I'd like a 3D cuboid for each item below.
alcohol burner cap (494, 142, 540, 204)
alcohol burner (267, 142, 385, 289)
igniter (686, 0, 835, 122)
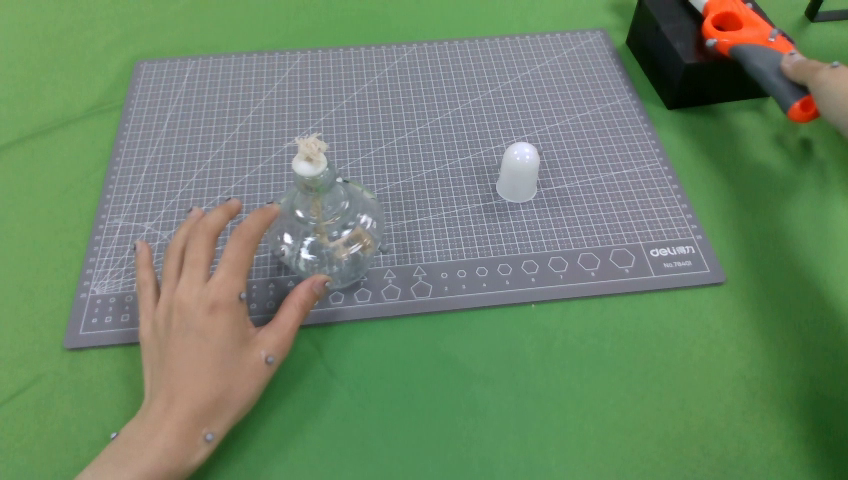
[{"bbox_3d":[0.072,-0.054,0.460,0.034,0.048,0.033,1,53,-1],"label":"alcohol burner cap"},{"bbox_3d":[-0.065,-0.020,0.389,0.078,0.120,0.077,0,55,1],"label":"alcohol burner"},{"bbox_3d":[0.255,-0.192,0.516,0.057,0.025,0.273,-13,52,-4],"label":"igniter"}]
